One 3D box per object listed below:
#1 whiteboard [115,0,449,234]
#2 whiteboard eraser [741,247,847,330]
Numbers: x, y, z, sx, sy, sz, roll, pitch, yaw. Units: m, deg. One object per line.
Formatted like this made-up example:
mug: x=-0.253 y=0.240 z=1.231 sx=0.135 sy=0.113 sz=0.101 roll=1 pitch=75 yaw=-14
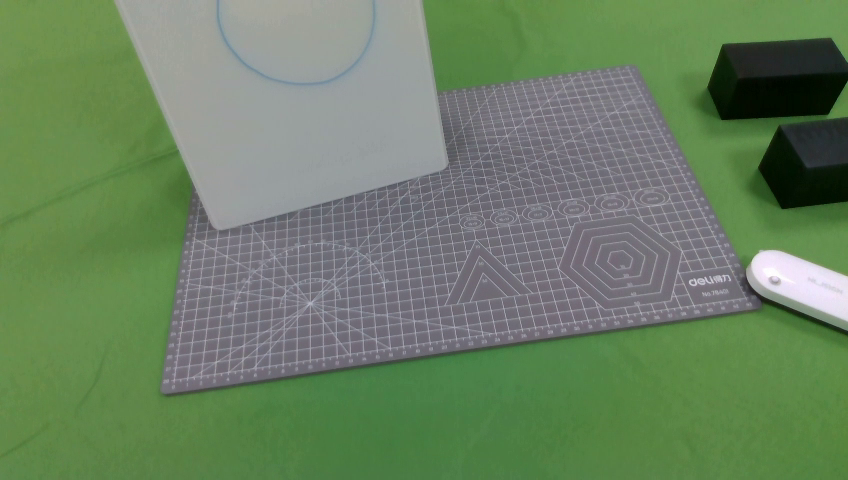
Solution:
whiteboard: x=-0.120 y=-0.194 z=0.511 sx=0.217 sy=0.308 sz=0.142 roll=-16 pitch=34 yaw=-6
whiteboard eraser: x=0.291 y=0.036 z=0.448 sx=0.100 sy=0.019 sz=0.041 roll=24 pitch=58 yaw=20
